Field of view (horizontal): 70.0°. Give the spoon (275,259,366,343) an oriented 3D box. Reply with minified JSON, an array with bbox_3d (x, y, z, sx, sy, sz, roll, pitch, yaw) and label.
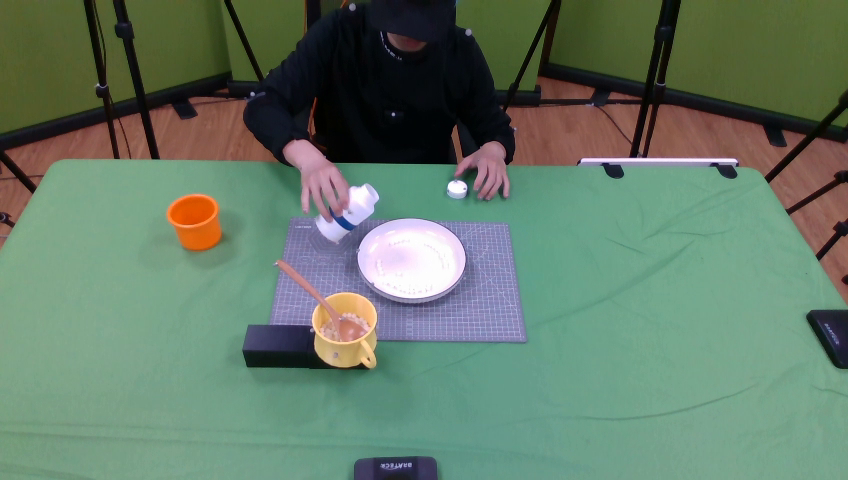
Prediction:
[{"bbox_3d":[-0.161,0.098,0.946,0.194,0.021,0.041,48,56,-5],"label":"spoon"}]

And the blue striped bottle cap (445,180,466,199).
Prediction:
[{"bbox_3d":[0.069,-0.109,1.314,0.044,0.021,0.044,4,44,-4],"label":"blue striped bottle cap"}]

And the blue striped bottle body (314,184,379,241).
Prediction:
[{"bbox_3d":[-0.141,-0.055,1.129,0.121,0.063,0.062,-36,47,16],"label":"blue striped bottle body"}]

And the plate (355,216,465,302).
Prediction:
[{"bbox_3d":[-0.027,0.039,1.144,0.208,0.039,0.206,2,46,-2],"label":"plate"}]

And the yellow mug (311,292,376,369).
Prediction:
[{"bbox_3d":[-0.115,0.150,0.945,0.100,0.064,0.130,-29,57,-28],"label":"yellow mug"}]
